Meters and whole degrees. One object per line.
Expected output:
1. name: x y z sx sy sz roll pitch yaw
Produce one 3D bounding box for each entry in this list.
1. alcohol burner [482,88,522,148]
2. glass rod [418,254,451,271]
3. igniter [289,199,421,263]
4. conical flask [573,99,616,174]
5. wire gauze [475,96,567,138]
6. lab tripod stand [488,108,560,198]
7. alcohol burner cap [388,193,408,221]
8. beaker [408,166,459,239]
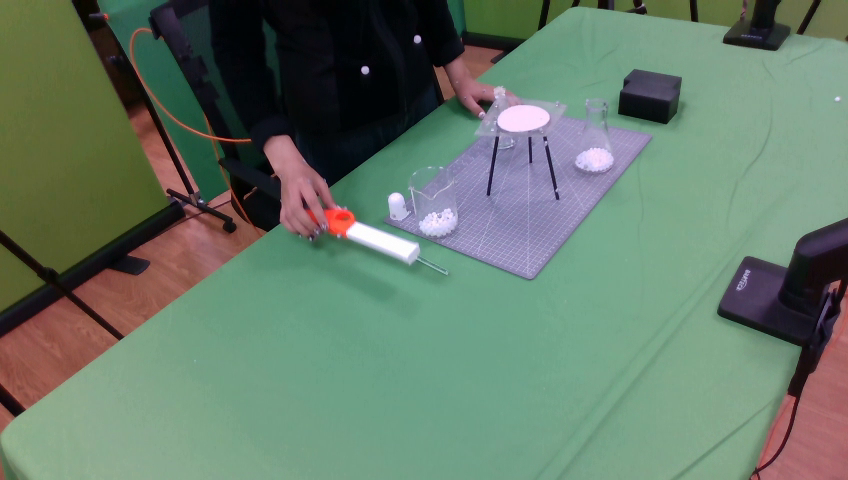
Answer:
1. alcohol burner: 0.149 -0.237 1.160 0.078 0.119 0.077 -4 40 4
2. glass rod: -0.033 0.013 0.985 0.198 0.008 0.008 24 51 35
3. igniter: -0.120 -0.018 0.964 0.274 0.025 0.057 20 51 33
4. conical flask: 0.301 -0.184 1.061 0.075 0.122 0.075 -5 40 5
5. wire gauze: 0.161 -0.201 0.994 0.121 0.011 0.125 11 43 23
6. lab tripod stand: 0.173 -0.150 1.037 0.148 0.132 0.147 -7 38 6
7. alcohol burner cap: -0.047 -0.059 1.043 0.034 0.048 0.033 -6 41 5
8. beaker: 0.018 -0.057 0.984 0.074 0.101 0.083 -6 41 5
